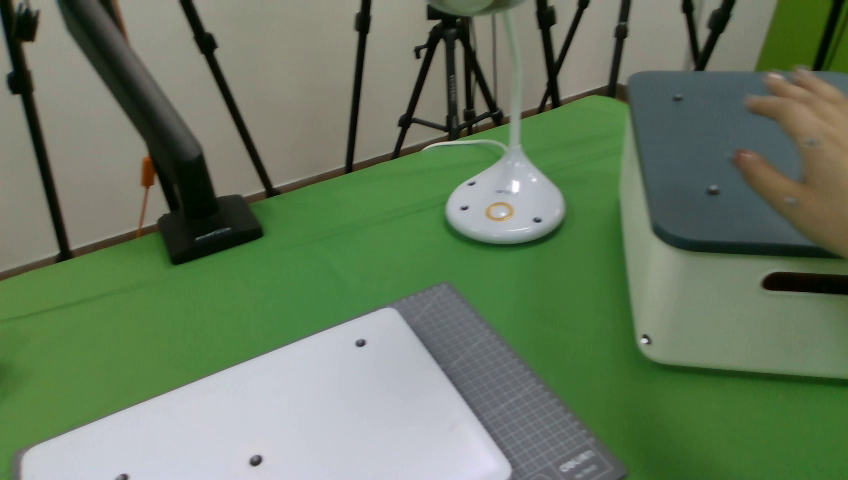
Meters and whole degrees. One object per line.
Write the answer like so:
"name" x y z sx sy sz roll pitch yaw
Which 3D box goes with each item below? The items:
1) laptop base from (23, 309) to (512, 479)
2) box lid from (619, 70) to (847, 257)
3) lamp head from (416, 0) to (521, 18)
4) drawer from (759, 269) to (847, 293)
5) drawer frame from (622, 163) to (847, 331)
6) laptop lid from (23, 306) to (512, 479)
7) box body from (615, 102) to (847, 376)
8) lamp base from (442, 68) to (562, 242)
"laptop base" -0.135 0.190 0.507 0.355 0.023 0.233 -20 41 -21
"box lid" 0.339 -0.095 0.595 0.263 0.015 0.368 2 36 11
"lamp head" 0.043 -0.282 0.554 0.112 0.113 0.122 0 75 7
"drawer" 0.331 0.004 0.661 0.194 0.074 0.210 0 33 10
"drawer frame" 0.331 -0.001 0.662 0.201 0.083 0.212 1 33 9
"laptop lid" -0.134 0.181 0.498 0.357 0.013 0.239 -19 39 -20
"box body" 0.347 -0.035 0.650 0.253 0.162 0.361 2 35 11
"lamp base" 0.101 -0.117 0.780 0.160 0.182 0.178 3 33 11
